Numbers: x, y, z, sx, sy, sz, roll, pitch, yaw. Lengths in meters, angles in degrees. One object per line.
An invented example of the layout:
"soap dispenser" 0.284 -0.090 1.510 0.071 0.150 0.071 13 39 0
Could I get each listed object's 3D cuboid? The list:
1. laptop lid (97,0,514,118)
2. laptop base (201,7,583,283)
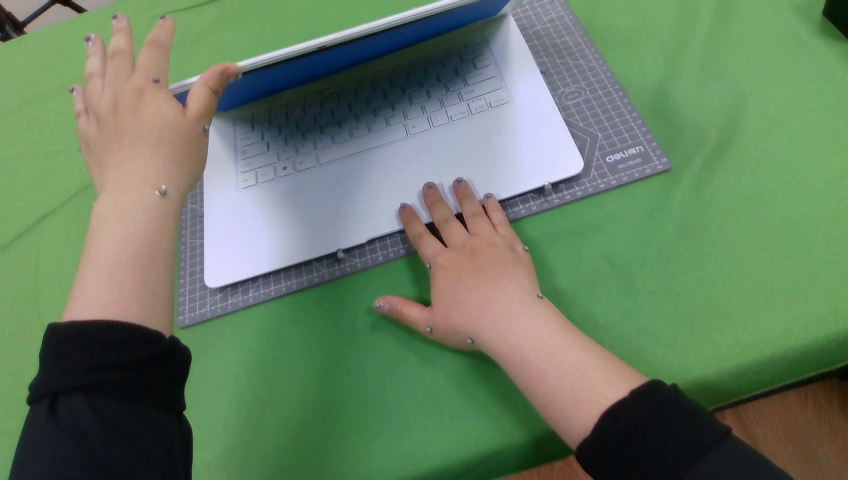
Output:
"laptop lid" -0.078 -0.172 0.544 0.356 0.013 0.240 -17 14 5
"laptop base" -0.051 -0.102 0.597 0.354 0.023 0.233 -18 58 4
